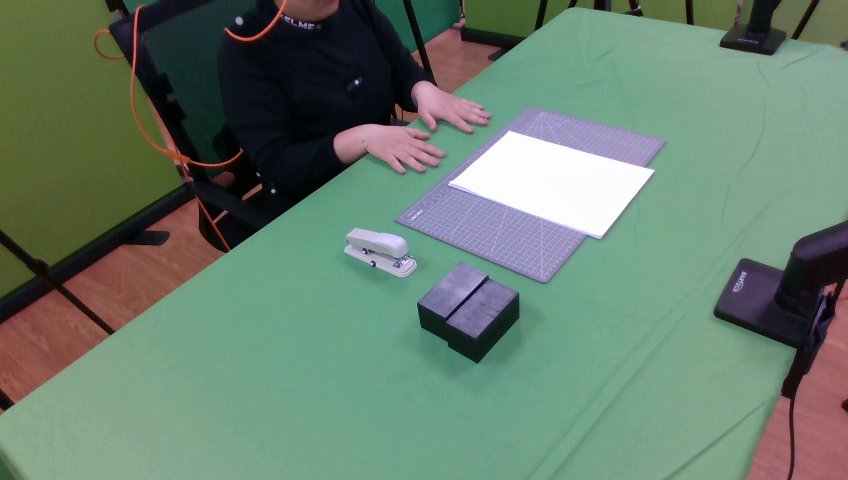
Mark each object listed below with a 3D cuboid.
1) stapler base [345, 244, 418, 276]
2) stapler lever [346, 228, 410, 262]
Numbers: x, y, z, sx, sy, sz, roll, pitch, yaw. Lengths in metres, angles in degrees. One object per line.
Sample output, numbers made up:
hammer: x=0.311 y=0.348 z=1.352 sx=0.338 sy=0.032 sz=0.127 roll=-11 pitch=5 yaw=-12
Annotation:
stapler base: x=-0.070 y=0.020 z=0.965 sx=0.129 sy=0.024 sz=0.041 roll=19 pitch=45 yaw=31
stapler lever: x=-0.074 y=0.001 z=0.950 sx=0.117 sy=0.040 sz=0.027 roll=20 pitch=46 yaw=30
